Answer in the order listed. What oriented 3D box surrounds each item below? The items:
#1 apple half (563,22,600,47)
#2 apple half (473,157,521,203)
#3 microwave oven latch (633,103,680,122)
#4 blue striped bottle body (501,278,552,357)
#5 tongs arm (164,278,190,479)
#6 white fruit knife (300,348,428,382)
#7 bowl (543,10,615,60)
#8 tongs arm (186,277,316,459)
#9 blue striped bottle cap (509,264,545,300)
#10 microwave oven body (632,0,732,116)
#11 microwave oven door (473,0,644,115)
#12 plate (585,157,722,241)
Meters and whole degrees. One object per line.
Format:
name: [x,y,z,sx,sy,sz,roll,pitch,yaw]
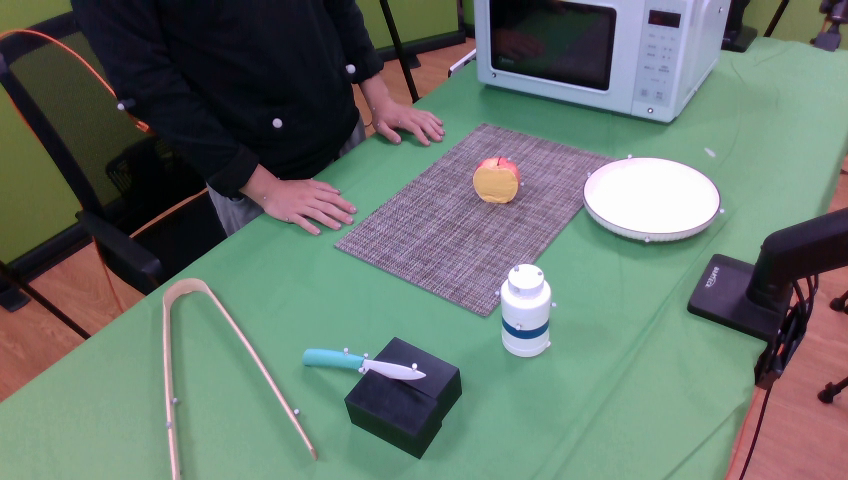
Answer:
apple half: [0.334,-0.447,1.299,0.081,0.033,0.081,-16,35,12]
apple half: [0.128,-0.107,1.030,0.080,0.075,0.053,4,38,19]
microwave oven latch: [0.444,-0.249,1.157,0.078,0.029,0.030,21,48,30]
blue striped bottle body: [0.130,0.089,0.769,0.063,0.121,0.063,-4,41,4]
tongs arm: [-0.313,0.182,0.789,0.051,0.026,0.381,-19,41,-14]
white fruit knife: [-0.079,0.154,0.748,0.206,0.027,0.016,1,20,34]
bowl: [0.335,-0.439,1.306,0.151,0.077,0.151,-8,30,5]
tongs arm: [-0.241,0.154,0.816,0.028,0.028,0.384,-31,46,-21]
blue striped bottle cap: [0.125,0.051,0.735,0.044,0.021,0.044,-5,39,5]
microwave oven body: [0.377,-0.462,1.267,0.438,0.261,0.327,21,48,30]
microwave oven door: [0.257,-0.396,1.199,0.353,0.245,0.039,21,48,29]
plate: [0.367,-0.063,0.979,0.207,0.039,0.206,-4,40,4]
